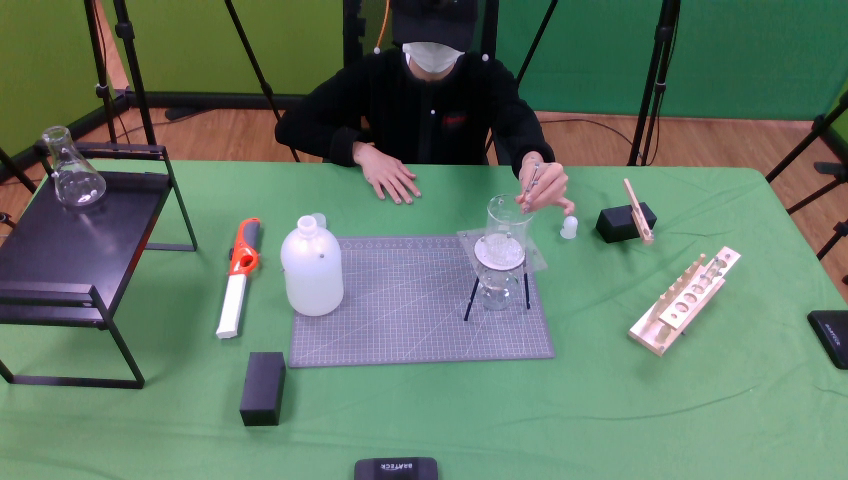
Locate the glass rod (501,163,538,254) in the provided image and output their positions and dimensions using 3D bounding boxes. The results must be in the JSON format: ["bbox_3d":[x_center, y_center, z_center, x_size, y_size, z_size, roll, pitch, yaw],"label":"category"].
[{"bbox_3d":[0.145,-0.043,0.928,0.008,0.200,0.008,5,49,-6],"label":"glass rod"}]

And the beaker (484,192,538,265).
[{"bbox_3d":[0.138,-0.016,0.980,0.084,0.101,0.073,-6,45,-9],"label":"beaker"}]

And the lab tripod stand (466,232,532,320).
[{"bbox_3d":[0.125,0.059,1.065,0.148,0.132,0.147,1,45,0],"label":"lab tripod stand"}]

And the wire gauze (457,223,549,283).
[{"bbox_3d":[0.131,0.016,1.017,0.121,0.011,0.124,-10,44,-15],"label":"wire gauze"}]

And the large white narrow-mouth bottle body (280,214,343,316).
[{"bbox_3d":[-0.190,0.035,1.025,0.102,0.195,0.101,2,46,-2],"label":"large white narrow-mouth bottle body"}]

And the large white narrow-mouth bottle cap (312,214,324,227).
[{"bbox_3d":[-0.219,-0.033,1.214,0.038,0.024,0.037,2,46,-2],"label":"large white narrow-mouth bottle cap"}]

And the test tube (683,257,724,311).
[{"bbox_3d":[0.476,0.080,1.037,0.017,0.151,0.017,1,50,-1],"label":"test tube"}]

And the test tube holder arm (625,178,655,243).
[{"bbox_3d":[0.433,-0.062,1.220,0.013,0.015,0.177,2,47,-3],"label":"test tube holder arm"}]

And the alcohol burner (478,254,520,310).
[{"bbox_3d":[0.133,0.068,1.071,0.078,0.120,0.077,0,47,0],"label":"alcohol burner"}]

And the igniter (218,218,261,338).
[{"bbox_3d":[-0.336,0.060,1.111,0.057,0.025,0.274,-7,46,4],"label":"igniter"}]

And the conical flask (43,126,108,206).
[{"bbox_3d":[-0.555,-0.119,0.953,0.075,0.122,0.075,2,46,-2],"label":"conical flask"}]

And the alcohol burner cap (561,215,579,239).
[{"bbox_3d":[0.299,-0.030,1.231,0.034,0.048,0.033,0,47,0],"label":"alcohol burner cap"}]

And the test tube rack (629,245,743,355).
[{"bbox_3d":[0.474,0.095,1.091,0.242,0.085,0.066,-34,56,-31],"label":"test tube rack"}]

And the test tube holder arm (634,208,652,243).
[{"bbox_3d":[0.428,-0.030,1.189,0.010,0.015,0.087,3,47,-3],"label":"test tube holder arm"}]
